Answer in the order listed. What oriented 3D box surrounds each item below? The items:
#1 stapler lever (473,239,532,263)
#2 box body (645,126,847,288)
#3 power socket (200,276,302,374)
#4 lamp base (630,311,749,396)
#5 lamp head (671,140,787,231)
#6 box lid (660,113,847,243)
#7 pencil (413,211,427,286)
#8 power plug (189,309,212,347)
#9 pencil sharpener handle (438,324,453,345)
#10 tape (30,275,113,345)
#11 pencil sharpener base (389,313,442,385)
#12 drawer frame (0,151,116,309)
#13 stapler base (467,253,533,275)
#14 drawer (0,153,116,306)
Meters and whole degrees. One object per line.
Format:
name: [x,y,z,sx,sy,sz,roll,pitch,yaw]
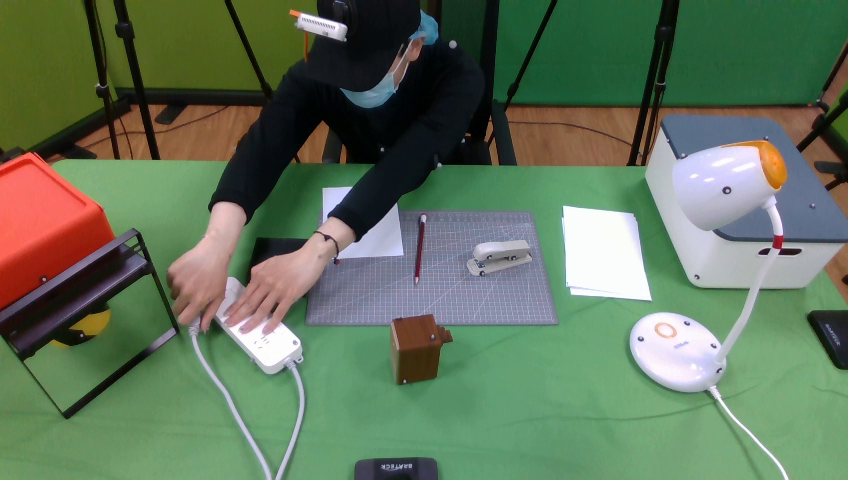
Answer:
stapler lever: [0.150,0.017,1.155,0.118,0.040,0.026,-13,50,-17]
box body: [0.625,-0.080,1.222,0.254,0.161,0.361,0,46,-3]
power socket: [-0.298,0.141,1.034,0.225,0.033,0.072,37,55,27]
lamp base: [0.447,0.143,0.983,0.161,0.181,0.178,-24,55,-24]
lamp head: [0.415,-0.078,0.811,0.113,0.123,0.112,12,70,-37]
box lid: [0.628,-0.133,1.170,0.263,0.015,0.369,1,46,-3]
pencil: [-0.009,0.014,1.191,0.012,0.012,0.193,6,49,2]
power plug: [-0.380,0.150,1.014,0.035,0.053,0.072,9,62,7]
pencil sharpener handle: [0.036,0.155,0.976,0.031,0.068,0.036,-8,69,-11]
tape: [-0.593,0.117,1.021,0.117,0.053,0.116,2,46,-2]
pencil sharpener base: [-0.013,0.175,0.971,0.077,0.107,0.061,-8,47,-12]
drawer frame: [-0.604,-0.013,0.876,0.201,0.083,0.213,31,52,23]
stapler base: [0.147,0.034,1.172,0.131,0.024,0.041,-12,50,-17]
drawer: [-0.601,-0.015,0.880,0.193,0.073,0.211,32,53,23]
